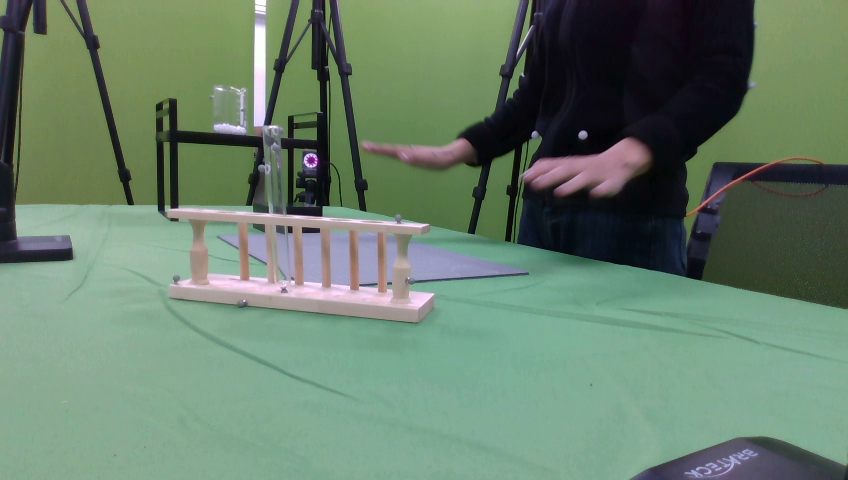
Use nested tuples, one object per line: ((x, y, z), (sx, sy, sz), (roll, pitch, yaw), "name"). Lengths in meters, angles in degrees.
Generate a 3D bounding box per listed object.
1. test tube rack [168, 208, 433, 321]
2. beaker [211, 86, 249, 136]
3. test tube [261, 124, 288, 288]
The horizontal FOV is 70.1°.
((-0.115, 0.017, 0.574), (0.242, 0.085, 0.067), (4, 8, 13), "test tube rack")
((-0.413, -0.274, 1.297), (0.074, 0.100, 0.083), (-5, 11, -44), "beaker")
((-0.137, -0.030, 0.555), (0.017, 0.150, 0.017), (-2, 9, 1), "test tube")
